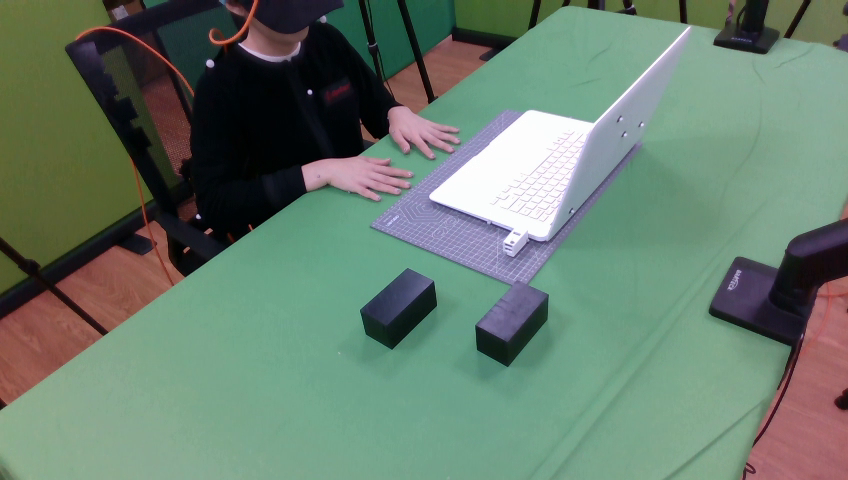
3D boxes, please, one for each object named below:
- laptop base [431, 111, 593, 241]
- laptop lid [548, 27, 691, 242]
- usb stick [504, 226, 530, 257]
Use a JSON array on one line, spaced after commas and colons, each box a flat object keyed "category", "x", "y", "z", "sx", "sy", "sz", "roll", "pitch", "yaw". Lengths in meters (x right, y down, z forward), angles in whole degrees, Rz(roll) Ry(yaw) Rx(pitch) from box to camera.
[{"category": "laptop base", "x": 0.207, "y": -0.129, "z": 1.100, "sx": 0.233, "sy": 0.023, "sz": 0.355, "roll": 20, "pitch": 48, "yaw": 33}, {"category": "laptop lid", "x": 0.310, "y": -0.168, "z": 0.950, "sx": 0.013, "sy": 0.242, "sz": 0.358, "roll": 33, "pitch": 52, "yaw": 20}, {"category": "usb stick", "x": 0.149, "y": -0.002, "z": 0.940, "sx": 0.021, "sy": 0.027, "sz": 0.059, "roll": 22, "pitch": 47, "yaw": 32}]
